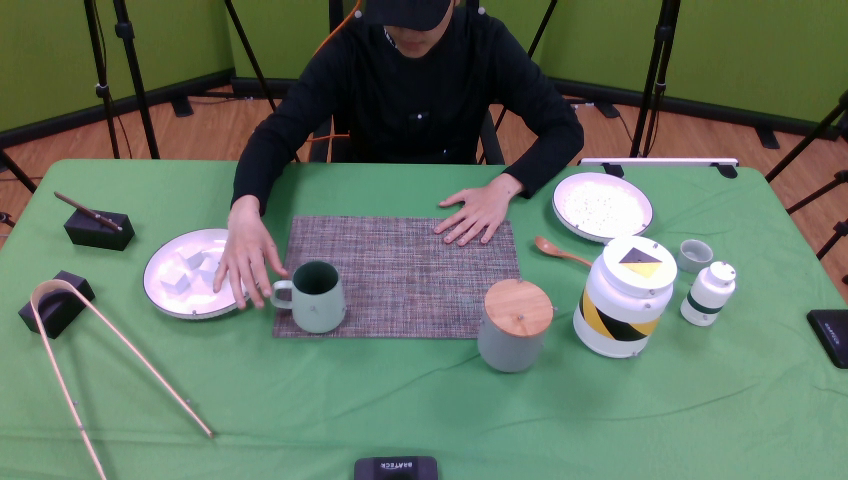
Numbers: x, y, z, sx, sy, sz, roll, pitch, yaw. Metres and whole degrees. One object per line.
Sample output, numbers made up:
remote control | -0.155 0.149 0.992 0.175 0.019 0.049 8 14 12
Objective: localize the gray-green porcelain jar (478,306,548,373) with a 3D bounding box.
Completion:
gray-green porcelain jar | 0.144 0.148 0.989 0.106 0.127 0.105 2 50 -2

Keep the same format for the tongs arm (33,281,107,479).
tongs arm | -0.517 0.214 0.910 0.051 0.026 0.383 -28 63 -27

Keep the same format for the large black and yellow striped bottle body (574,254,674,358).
large black and yellow striped bottle body | 0.335 0.096 1.014 0.131 0.185 0.130 2 46 -2

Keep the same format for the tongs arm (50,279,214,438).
tongs arm | -0.459 0.178 0.949 0.386 0.028 0.028 37 60 17

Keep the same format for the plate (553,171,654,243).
plate | 0.373 -0.066 1.275 0.209 0.038 0.208 2 46 -2

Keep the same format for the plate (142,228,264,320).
plate | -0.394 0.064 1.095 0.208 0.039 0.206 2 46 -2

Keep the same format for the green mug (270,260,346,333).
green mug | -0.198 0.097 1.026 0.125 0.105 0.092 0 46 -3

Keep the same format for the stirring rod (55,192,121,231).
stirring rod | -0.632 -0.055 1.138 0.175 0.014 0.006 24 50 19

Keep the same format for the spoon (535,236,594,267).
spoon | 0.303 0.040 1.178 0.193 0.022 0.041 25 31 19

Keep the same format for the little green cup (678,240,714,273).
little green cup | 0.530 0.033 1.190 0.061 0.039 0.061 2 46 -1

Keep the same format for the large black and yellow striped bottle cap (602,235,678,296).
large black and yellow striped bottle cap | 0.340 0.037 0.956 0.115 0.019 0.114 2 47 -1

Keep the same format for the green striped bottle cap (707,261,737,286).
green striped bottle cap | 0.510 0.057 1.036 0.044 0.020 0.044 1 45 -1

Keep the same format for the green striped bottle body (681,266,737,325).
green striped bottle body | 0.507 0.093 1.074 0.063 0.120 0.063 2 46 -2

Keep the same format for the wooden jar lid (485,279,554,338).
wooden jar lid | 0.147 0.108 0.940 0.108 0.021 0.107 4 47 -4
